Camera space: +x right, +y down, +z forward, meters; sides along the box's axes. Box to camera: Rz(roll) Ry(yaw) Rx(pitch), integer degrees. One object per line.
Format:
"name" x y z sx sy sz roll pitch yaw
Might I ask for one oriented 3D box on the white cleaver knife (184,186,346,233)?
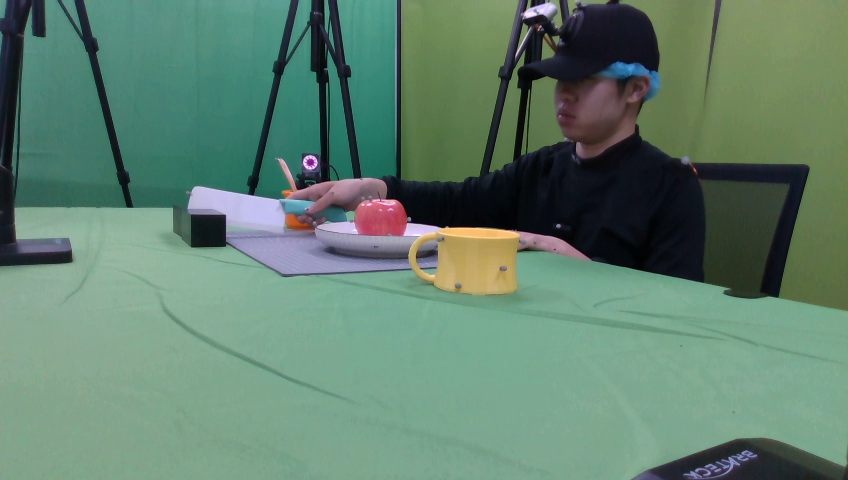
"white cleaver knife" -0.273 -0.047 1.076 0.288 0.066 0.021 7 2 -30

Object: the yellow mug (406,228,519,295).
"yellow mug" 0.044 0.022 0.707 0.131 0.064 0.100 2 7 5

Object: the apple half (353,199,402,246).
"apple half" -0.076 -0.029 0.946 0.081 0.081 0.032 0 12 -18

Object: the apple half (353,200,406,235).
"apple half" -0.064 -0.023 0.909 0.081 0.074 0.053 4 11 -17

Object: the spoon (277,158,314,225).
"spoon" -0.272 -0.103 1.260 0.042 0.193 0.021 -4 -34 -33

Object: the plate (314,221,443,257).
"plate" -0.067 -0.002 0.947 0.209 0.038 0.209 3 7 0
